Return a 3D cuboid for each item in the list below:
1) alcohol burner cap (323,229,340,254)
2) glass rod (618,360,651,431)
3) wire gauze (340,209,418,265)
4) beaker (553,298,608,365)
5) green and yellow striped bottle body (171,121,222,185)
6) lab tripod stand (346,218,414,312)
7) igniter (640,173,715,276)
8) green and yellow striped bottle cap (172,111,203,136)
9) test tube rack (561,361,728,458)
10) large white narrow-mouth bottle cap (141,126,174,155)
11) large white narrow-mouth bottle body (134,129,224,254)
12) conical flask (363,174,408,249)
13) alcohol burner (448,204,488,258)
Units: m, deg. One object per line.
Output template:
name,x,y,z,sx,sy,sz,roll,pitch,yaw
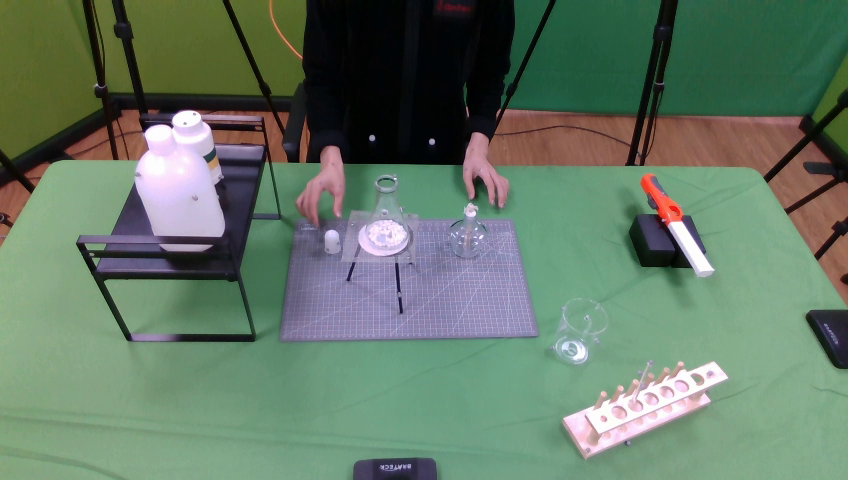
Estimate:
alcohol burner cap,-0.179,0.001,1.165,0.034,0.048,0.033,2,45,-2
glass rod,0.298,0.227,0.865,0.008,0.201,0.008,-2,48,2
wire gauze,-0.074,-0.006,1.024,0.121,0.011,0.124,2,48,1
beaker,0.260,0.154,1.015,0.073,0.101,0.084,37,54,27
green and yellow striped bottle body,-0.375,-0.149,0.995,0.063,0.120,0.063,2,46,-2
lab tripod stand,-0.070,0.037,1.075,0.148,0.132,0.147,1,47,-1
igniter,0.495,-0.039,1.204,0.057,0.025,0.274,-2,47,-12
green and yellow striped bottle cap,-0.374,-0.185,0.958,0.045,0.020,0.045,4,46,-4
test tube rack,0.341,0.248,0.940,0.243,0.085,0.066,-15,49,-18
large white narrow-mouth bottle cap,-0.356,-0.133,0.811,0.038,0.024,0.037,1,48,-1
large white narrow-mouth bottle body,-0.358,-0.075,0.875,0.102,0.195,0.101,1,48,-1
conical flask,-0.063,-0.050,0.985,0.075,0.122,0.075,2,46,-1
alcohol burner,0.085,-0.023,1.159,0.078,0.120,0.077,1,47,-1
